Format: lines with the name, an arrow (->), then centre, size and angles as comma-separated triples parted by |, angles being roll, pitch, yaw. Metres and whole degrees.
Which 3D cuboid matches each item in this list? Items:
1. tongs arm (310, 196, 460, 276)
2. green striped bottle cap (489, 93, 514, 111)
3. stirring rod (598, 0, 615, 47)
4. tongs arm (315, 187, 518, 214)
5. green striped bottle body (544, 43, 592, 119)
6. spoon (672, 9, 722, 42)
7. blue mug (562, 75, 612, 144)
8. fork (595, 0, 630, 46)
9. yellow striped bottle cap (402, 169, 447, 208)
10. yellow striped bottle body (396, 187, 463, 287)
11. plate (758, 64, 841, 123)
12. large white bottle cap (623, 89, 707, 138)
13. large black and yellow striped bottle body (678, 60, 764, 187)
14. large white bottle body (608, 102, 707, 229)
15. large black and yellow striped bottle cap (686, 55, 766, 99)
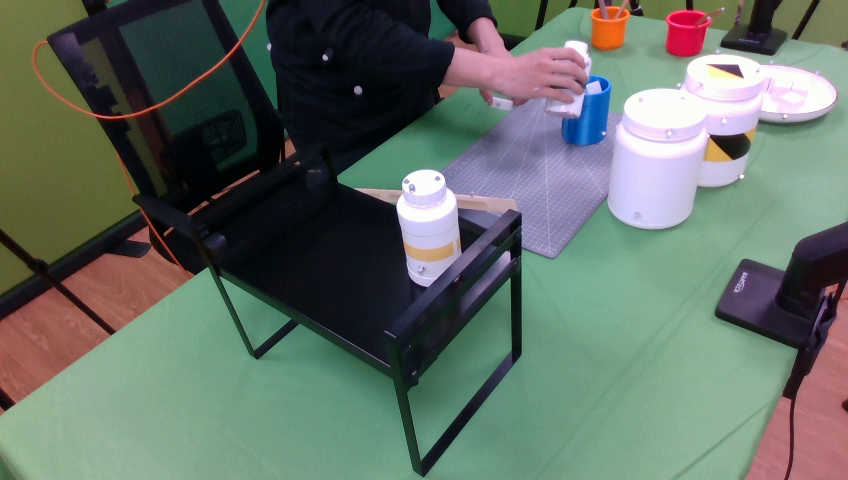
tongs arm -> -0.078, -0.012, 0.943 | 0.028, 0.028, 0.384 | -43, 39, -23
green striped bottle cap -> 0.145, -0.257, 1.127 | 0.044, 0.020, 0.044 | 15, 24, -7
stirring rod -> 0.437, -0.551, 1.462 | 0.014, 0.006, 0.175 | -11, 83, 1
tongs arm -> -0.028, -0.060, 0.988 | 0.382, 0.027, 0.051 | 9, 45, 36
green striped bottle body -> 0.249, -0.273, 1.037 | 0.063, 0.119, 0.063 | 12, 7, -1
spoon -> 0.606, -0.476, 1.345 | 0.042, 0.021, 0.193 | -6, -3, -2
blue mug -> 0.298, -0.239, 1.143 | 0.117, 0.106, 0.081 | -37, 48, -29
fork -> 0.480, -0.556, 1.453 | 0.028, 0.019, 0.207 | 41, 103, 40
yellow striped bottle cap -> 0.000, -0.052, 0.605 | 0.044, 0.019, 0.044 | -4, 43, 5
yellow striped bottle body -> 0.006, -0.013, 0.638 | 0.063, 0.121, 0.062 | -5, 41, 5
plate -> 0.694, -0.283, 1.189 | 0.207, 0.039, 0.206 | -4, 40, 4
large white bottle cap -> 0.352, -0.187, 0.886 | 0.115, 0.018, 0.114 | -4, 41, 4
large black and yellow striped bottle body -> 0.482, -0.196, 1.008 | 0.131, 0.185, 0.130 | -4, 41, 4
large white bottle body -> 0.361, -0.124, 0.941 | 0.130, 0.185, 0.130 | -5, 41, 4
large black and yellow striped bottle cap -> 0.474, -0.258, 0.952 | 0.115, 0.019, 0.114 | -5, 41, 5
